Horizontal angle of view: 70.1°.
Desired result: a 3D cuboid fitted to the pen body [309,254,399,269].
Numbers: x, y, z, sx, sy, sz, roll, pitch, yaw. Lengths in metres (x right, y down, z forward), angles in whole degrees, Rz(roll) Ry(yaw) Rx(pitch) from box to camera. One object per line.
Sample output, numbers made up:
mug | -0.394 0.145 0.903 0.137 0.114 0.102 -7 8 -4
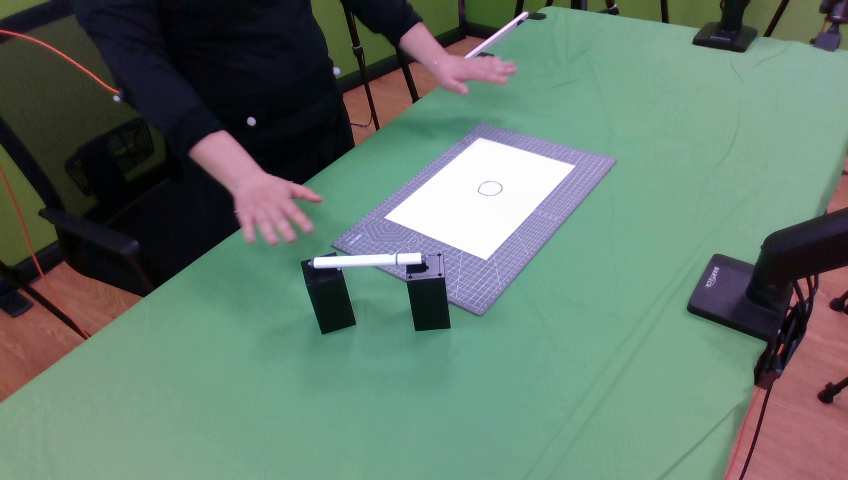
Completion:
pen body | -0.079 0.029 0.797 0.144 0.017 0.017 -3 40 5

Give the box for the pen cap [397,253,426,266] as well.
pen cap | -0.016 0.026 0.791 0.038 0.017 0.017 -3 40 3
